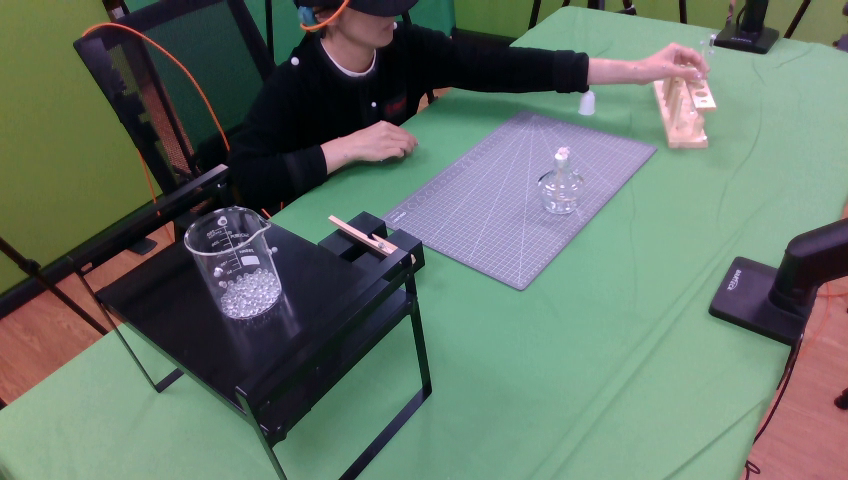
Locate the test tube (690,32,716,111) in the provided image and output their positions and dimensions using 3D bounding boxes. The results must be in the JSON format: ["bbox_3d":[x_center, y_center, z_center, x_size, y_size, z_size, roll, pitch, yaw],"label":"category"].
[{"bbox_3d":[0.506,-0.303,1.099,0.017,0.151,0.017,-3,40,3],"label":"test tube"}]

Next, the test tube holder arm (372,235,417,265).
[{"bbox_3d":[-0.047,0.014,0.895,0.087,0.015,0.010,25,50,33],"label":"test tube holder arm"}]

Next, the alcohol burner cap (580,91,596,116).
[{"bbox_3d":[0.338,-0.283,1.239,0.034,0.048,0.033,-4,42,4],"label":"alcohol burner cap"}]

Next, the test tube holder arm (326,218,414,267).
[{"bbox_3d":[-0.085,0.002,0.916,0.177,0.015,0.013,23,50,31],"label":"test tube holder arm"}]

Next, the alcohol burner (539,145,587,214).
[{"bbox_3d":[0.226,-0.102,0.986,0.078,0.119,0.077,-6,41,6],"label":"alcohol burner"}]

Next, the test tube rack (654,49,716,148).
[{"bbox_3d":[0.502,-0.281,1.176,0.066,0.085,0.241,1,41,11],"label":"test tube rack"}]

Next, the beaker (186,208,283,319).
[{"bbox_3d":[-0.192,0.026,0.637,0.084,0.101,0.073,-13,41,-7],"label":"beaker"}]
